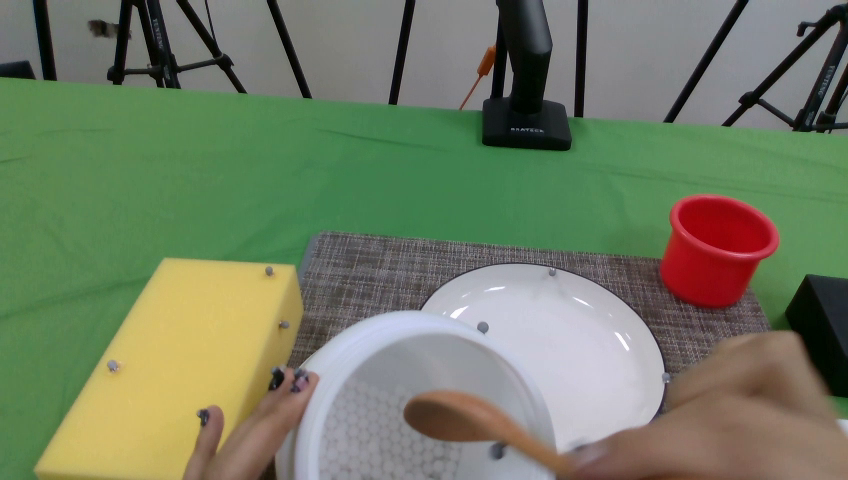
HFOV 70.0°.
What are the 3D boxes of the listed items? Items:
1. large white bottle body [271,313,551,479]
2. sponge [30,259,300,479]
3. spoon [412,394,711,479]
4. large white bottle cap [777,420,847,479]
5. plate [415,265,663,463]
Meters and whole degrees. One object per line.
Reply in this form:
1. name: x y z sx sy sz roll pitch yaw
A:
1. large white bottle body: -0.017 0.110 0.335 0.131 0.185 0.130 4 76 -14
2. sponge: -0.180 0.106 0.469 0.118 0.061 0.205 3 39 3
3. spoon: 0.048 0.074 0.206 0.193 0.042 0.021 -8 48 59
4. large white bottle cap: 0.320 0.184 0.440 0.115 0.018 0.113 4 40 -3
5. plate: 0.088 0.102 0.507 0.209 0.038 0.207 2 39 -1
